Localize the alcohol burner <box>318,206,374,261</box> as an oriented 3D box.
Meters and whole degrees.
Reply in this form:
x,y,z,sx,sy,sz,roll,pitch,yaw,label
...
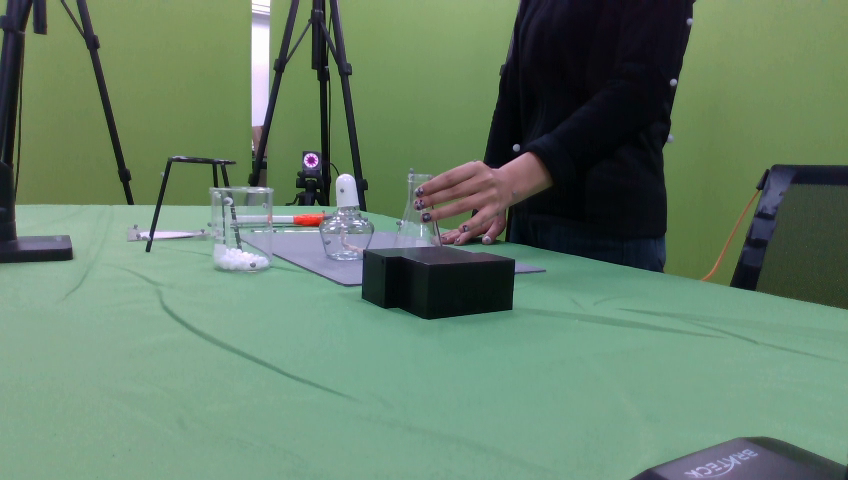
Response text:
x,y,z,sx,sy,sz,roll,pitch,yaw,label
-0.107,-0.032,0.833,0.078,0.119,0.078,1,6,0,alcohol burner

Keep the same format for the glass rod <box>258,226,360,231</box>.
x,y,z,sx,sy,sz,roll,pitch,yaw,label
-0.215,-0.022,1.151,0.201,0.008,0.008,-2,8,-28,glass rod

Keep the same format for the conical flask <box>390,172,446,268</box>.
x,y,z,sx,sy,sz,roll,pitch,yaw,label
-0.006,-0.027,0.791,0.075,0.122,0.075,2,7,0,conical flask

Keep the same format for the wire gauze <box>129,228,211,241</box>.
x,y,z,sx,sy,sz,roll,pitch,yaw,label
-0.419,-0.010,0.999,0.122,0.011,0.124,0,6,-25,wire gauze

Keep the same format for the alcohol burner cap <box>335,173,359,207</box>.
x,y,z,sx,sy,sz,roll,pitch,yaw,label
-0.108,-0.068,0.829,0.034,0.048,0.034,-7,4,1,alcohol burner cap

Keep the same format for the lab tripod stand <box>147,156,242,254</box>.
x,y,z,sx,sy,sz,roll,pitch,yaw,label
-0.310,-0.050,0.858,0.148,0.131,0.148,4,6,0,lab tripod stand

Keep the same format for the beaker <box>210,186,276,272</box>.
x,y,z,sx,sy,sz,roll,pitch,yaw,label
-0.224,-0.014,0.738,0.084,0.100,0.074,4,7,16,beaker

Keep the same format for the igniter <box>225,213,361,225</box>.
x,y,z,sx,sy,sz,roll,pitch,yaw,label
-0.257,-0.042,1.221,0.278,0.025,0.057,-2,-2,-32,igniter
